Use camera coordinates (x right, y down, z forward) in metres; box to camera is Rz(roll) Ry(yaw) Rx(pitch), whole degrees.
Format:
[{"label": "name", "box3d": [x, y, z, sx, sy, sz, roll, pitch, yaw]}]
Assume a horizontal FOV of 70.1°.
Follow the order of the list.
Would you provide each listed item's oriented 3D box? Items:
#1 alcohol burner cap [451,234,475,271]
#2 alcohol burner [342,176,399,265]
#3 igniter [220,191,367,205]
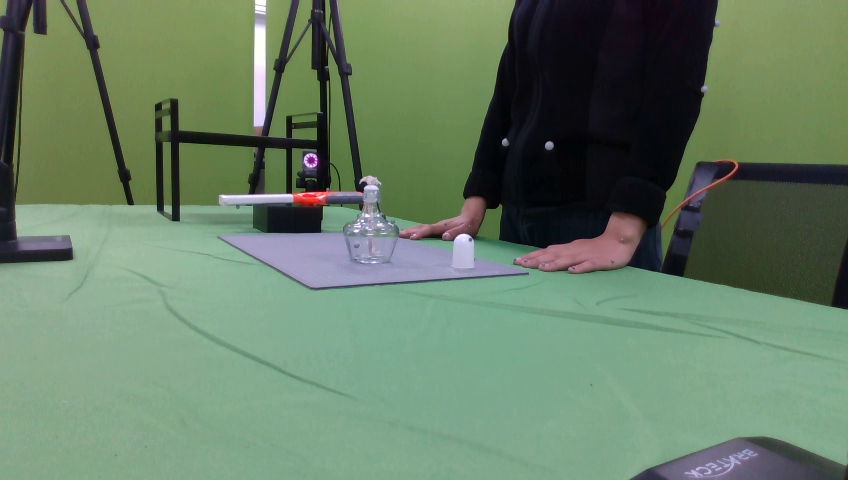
[{"label": "alcohol burner cap", "box3d": [0.052, 0.016, 0.808, 0.034, 0.048, 0.034, 3, 9, 0]}, {"label": "alcohol burner", "box3d": [-0.073, -0.027, 0.818, 0.078, 0.119, 0.078, 1, 6, 0]}, {"label": "igniter", "box3d": [-0.243, -0.079, 1.152, 0.278, 0.025, 0.057, -3, 12, -26]}]
